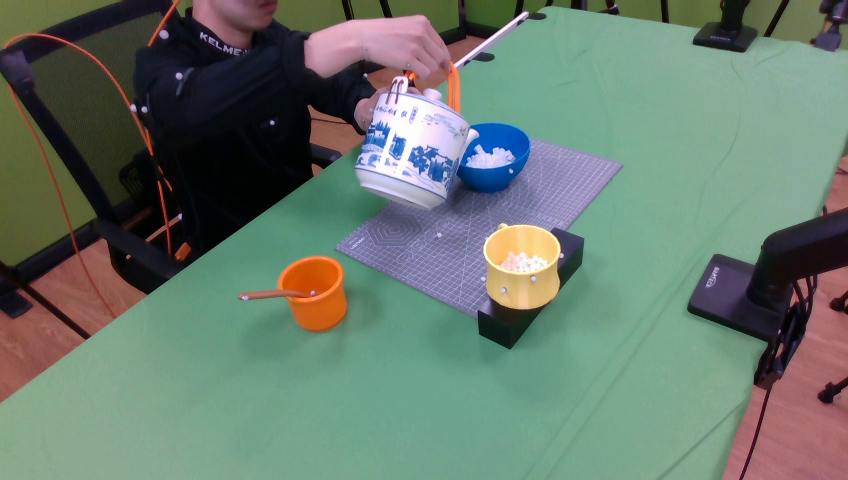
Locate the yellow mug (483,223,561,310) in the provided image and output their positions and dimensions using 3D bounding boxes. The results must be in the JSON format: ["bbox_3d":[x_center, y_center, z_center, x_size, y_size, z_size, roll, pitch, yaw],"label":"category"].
[{"bbox_3d":[0.126,0.025,0.811,0.100,0.064,0.130,-16,39,-9],"label":"yellow mug"}]

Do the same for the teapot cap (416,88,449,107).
[{"bbox_3d":[0.008,-0.203,0.905,0.084,0.086,0.044,15,85,25],"label":"teapot cap"}]

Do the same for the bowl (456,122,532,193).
[{"bbox_3d":[0.113,-0.136,1.063,0.151,0.077,0.150,-4,41,4],"label":"bowl"}]

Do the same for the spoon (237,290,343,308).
[{"bbox_3d":[-0.176,0.076,0.808,0.041,0.195,0.021,22,93,30],"label":"spoon"}]

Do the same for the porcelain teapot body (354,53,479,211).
[{"bbox_3d":[0.011,-0.160,0.926,0.144,0.207,0.225,17,88,39],"label":"porcelain teapot body"}]
